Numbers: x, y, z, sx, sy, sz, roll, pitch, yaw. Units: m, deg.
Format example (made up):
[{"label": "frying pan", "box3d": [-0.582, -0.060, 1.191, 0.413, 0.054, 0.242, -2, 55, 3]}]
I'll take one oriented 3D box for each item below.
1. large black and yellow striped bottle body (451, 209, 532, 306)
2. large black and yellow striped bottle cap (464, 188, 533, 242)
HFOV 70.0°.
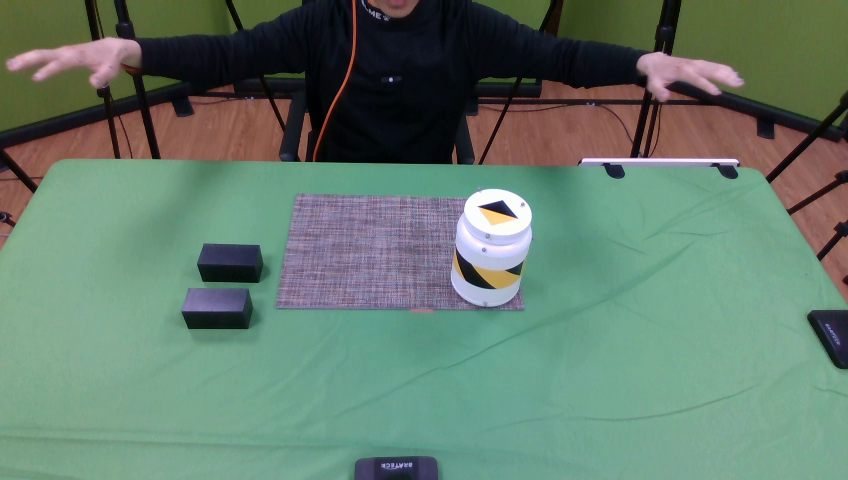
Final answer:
[{"label": "large black and yellow striped bottle body", "box3d": [0.119, 0.014, 1.074, 0.131, 0.185, 0.130, 2, 46, -2]}, {"label": "large black and yellow striped bottle cap", "box3d": [0.124, -0.044, 1.014, 0.115, 0.019, 0.114, 2, 47, -1]}]
